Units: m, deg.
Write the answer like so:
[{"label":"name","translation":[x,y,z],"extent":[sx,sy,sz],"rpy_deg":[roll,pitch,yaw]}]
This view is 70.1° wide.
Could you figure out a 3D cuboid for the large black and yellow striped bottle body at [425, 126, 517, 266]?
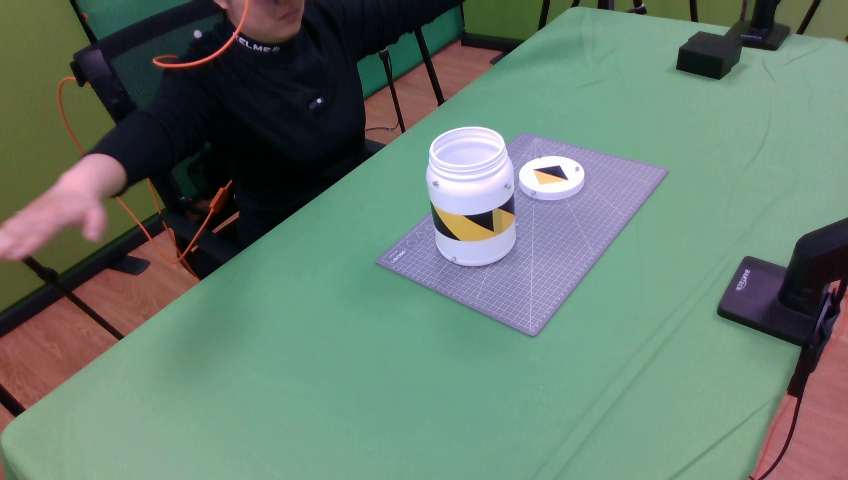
[{"label":"large black and yellow striped bottle body","translation":[0.072,-0.066,0.917],"extent":[0.131,0.185,0.130],"rpy_deg":[-5,40,5]}]

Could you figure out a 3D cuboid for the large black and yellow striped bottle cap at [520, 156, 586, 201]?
[{"label":"large black and yellow striped bottle cap","translation":[0.228,-0.111,1.072],"extent":[0.115,0.019,0.114],"rpy_deg":[-6,40,6]}]
